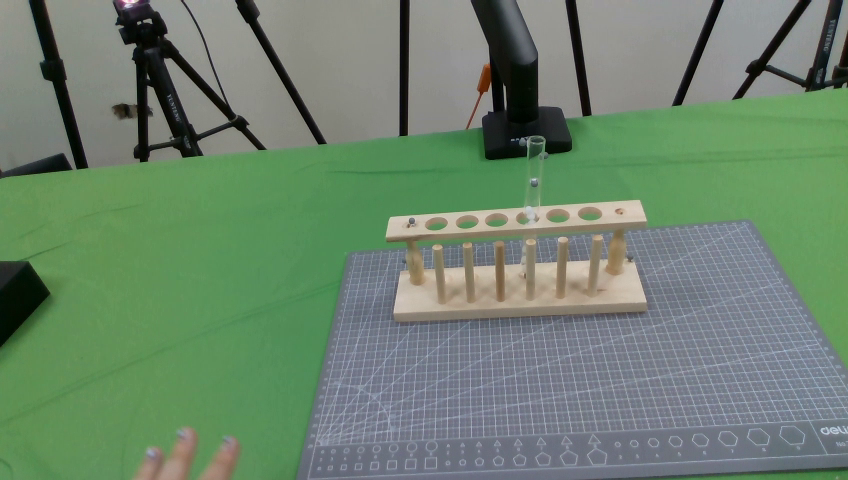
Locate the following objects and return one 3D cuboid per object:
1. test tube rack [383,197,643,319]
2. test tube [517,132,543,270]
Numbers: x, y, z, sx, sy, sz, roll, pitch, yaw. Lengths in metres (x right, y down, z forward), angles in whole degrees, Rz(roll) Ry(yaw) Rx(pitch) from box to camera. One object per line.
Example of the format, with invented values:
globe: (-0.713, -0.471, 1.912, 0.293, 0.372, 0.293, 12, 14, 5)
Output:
test tube rack: (0.085, 0.019, 0.590, 0.242, 0.086, 0.066, -3, 38, 8)
test tube: (0.099, -0.031, 0.571, 0.017, 0.151, 0.017, -2, 36, 2)
